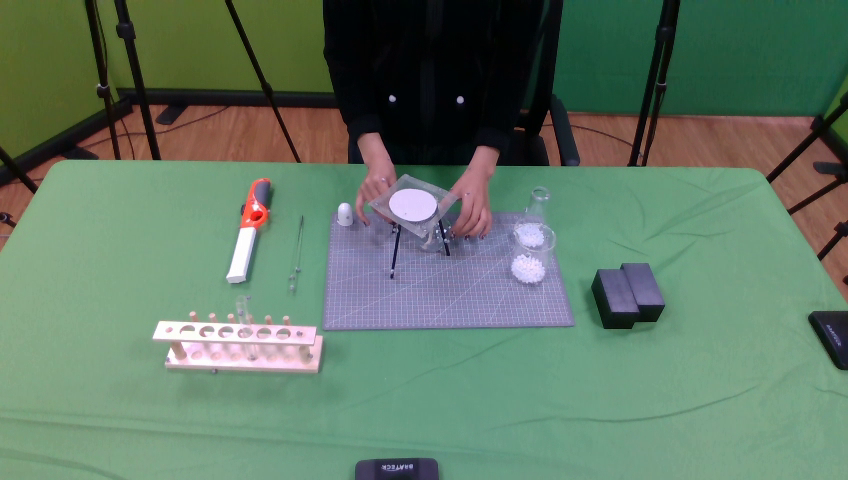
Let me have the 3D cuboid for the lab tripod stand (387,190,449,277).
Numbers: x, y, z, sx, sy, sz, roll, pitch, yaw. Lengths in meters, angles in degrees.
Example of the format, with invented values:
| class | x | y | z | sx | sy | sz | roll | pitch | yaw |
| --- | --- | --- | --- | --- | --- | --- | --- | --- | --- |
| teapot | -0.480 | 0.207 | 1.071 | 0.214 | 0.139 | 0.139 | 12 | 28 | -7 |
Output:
| class | x | y | z | sx | sy | sz | roll | pitch | yaw |
| --- | --- | --- | --- | --- | --- | --- | --- | --- | --- |
| lab tripod stand | -0.020 | -0.018 | 1.134 | 0.148 | 0.132 | 0.147 | 3 | 44 | -3 |

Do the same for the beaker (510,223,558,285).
| class | x | y | z | sx | sy | sz | roll | pitch | yaw |
| --- | --- | --- | --- | --- | --- | --- | --- | --- | --- |
| beaker | 0.199 | 0.028 | 1.132 | 0.083 | 0.101 | 0.074 | 26 | 50 | 21 |

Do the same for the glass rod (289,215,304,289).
| class | x | y | z | sx | sy | sz | roll | pitch | yaw |
| --- | --- | --- | --- | --- | --- | --- | --- | --- | --- |
| glass rod | -0.246 | 0.019 | 1.171 | 0.008 | 0.008 | 0.198 | 1 | 43 | -3 |

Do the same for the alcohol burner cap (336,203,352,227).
| class | x | y | z | sx | sy | sz | roll | pitch | yaw |
| --- | --- | --- | --- | --- | --- | --- | --- | --- | --- |
| alcohol burner cap | -0.162 | -0.053 | 1.221 | 0.034 | 0.048 | 0.033 | 2 | 46 | -2 |

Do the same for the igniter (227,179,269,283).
| class | x | y | z | sx | sy | sz | roll | pitch | yaw |
| --- | --- | --- | --- | --- | --- | --- | --- | --- | --- |
| igniter | -0.345 | -0.027 | 1.195 | 0.057 | 0.025 | 0.274 | -6 | 46 | 5 |

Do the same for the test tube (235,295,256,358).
| class | x | y | z | sx | sy | sz | roll | pitch | yaw |
| --- | --- | --- | --- | --- | --- | --- | --- | --- | --- |
| test tube | -0.274 | 0.136 | 0.933 | 0.017 | 0.151 | 0.017 | 4 | 45 | -4 |

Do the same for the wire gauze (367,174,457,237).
| class | x | y | z | sx | sy | sz | roll | pitch | yaw |
| --- | --- | --- | --- | --- | --- | --- | --- | --- | --- |
| wire gauze | -0.020 | -0.068 | 1.088 | 0.124 | 0.011 | 0.121 | 28 | 49 | 21 |

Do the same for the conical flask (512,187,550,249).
| class | x | y | z | sx | sy | sz | roll | pitch | yaw |
| --- | --- | --- | --- | --- | --- | --- | --- | --- | --- |
| conical flask | 0.217 | -0.048 | 1.190 | 0.075 | 0.122 | 0.075 | 2 | 46 | -2 |

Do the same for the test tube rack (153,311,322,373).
| class | x | y | z | sx | sy | sz | roll | pitch | yaw |
| --- | --- | --- | --- | --- | --- | --- | --- | --- | --- |
| test tube rack | -0.293 | 0.160 | 0.977 | 0.242 | 0.085 | 0.066 | 3 | 46 | -2 |

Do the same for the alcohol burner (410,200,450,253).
| class | x | y | z | sx | sy | sz | roll | pitch | yaw |
| --- | --- | --- | --- | --- | --- | --- | --- | --- | --- |
| alcohol burner | 0.014 | -0.033 | 1.166 | 0.078 | 0.119 | 0.077 | 4 | 45 | -3 |
